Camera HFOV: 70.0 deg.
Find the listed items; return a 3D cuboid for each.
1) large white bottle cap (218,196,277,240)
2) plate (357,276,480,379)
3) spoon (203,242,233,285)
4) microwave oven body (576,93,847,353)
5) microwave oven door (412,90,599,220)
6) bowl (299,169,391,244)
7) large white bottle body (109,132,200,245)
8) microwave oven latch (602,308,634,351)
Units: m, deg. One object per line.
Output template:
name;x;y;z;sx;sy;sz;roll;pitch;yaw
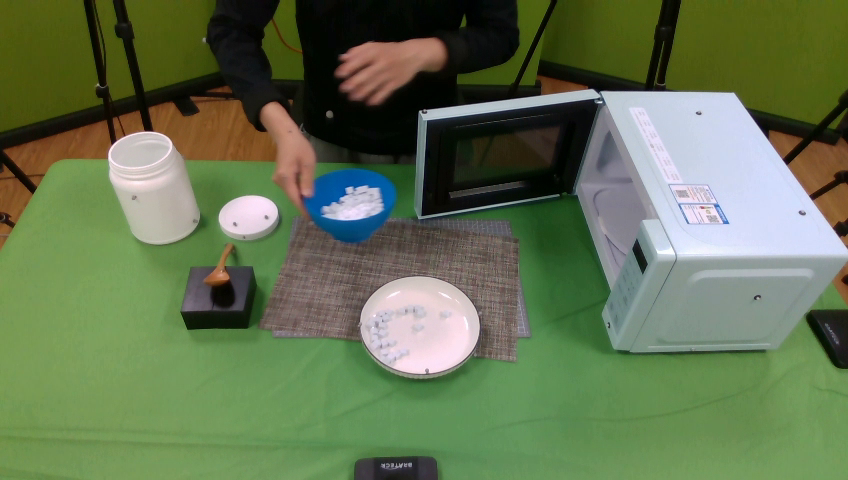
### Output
large white bottle cap;-0.354;-0.045;1.220;0.115;0.018;0.114;1;45;-1
plate;-0.009;0.151;1.038;0.209;0.038;0.208;2;47;-2
spoon;-0.360;0.039;1.087;0.041;0.022;0.192;-5;24;-7
microwave oven body;0.475;-0.041;1.109;0.326;0.261;0.438;-1;45;-4
microwave oven door;0.156;-0.167;1.200;0.356;0.245;0.039;-10;47;-14
bowl;-0.131;-0.047;1.021;0.151;0.077;0.150;2;39;-1
large white bottle body;-0.506;-0.097;1.141;0.131;0.185;0.130;2;46;-2
microwave oven latch;0.332;0.153;1.044;0.030;0.029;0.078;-1;45;-4
